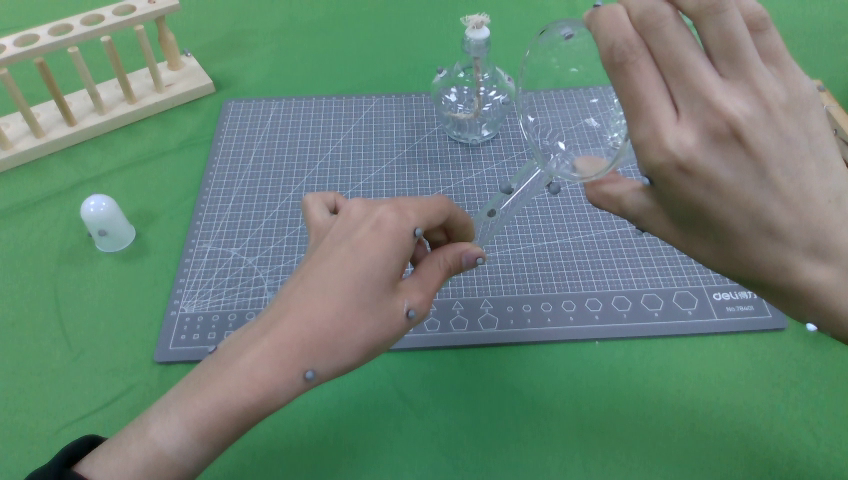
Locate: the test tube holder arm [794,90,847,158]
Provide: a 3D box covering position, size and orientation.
[{"bbox_3d":[0.335,-0.065,0.465,0.015,0.013,0.176,1,47,-7],"label":"test tube holder arm"}]

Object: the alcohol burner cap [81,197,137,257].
[{"bbox_3d":[-0.255,-0.013,0.485,0.034,0.048,0.033,0,49,0],"label":"alcohol burner cap"}]

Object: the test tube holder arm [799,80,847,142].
[{"bbox_3d":[0.333,-0.101,0.491,0.015,0.010,0.087,1,48,-7],"label":"test tube holder arm"}]

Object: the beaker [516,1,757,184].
[{"bbox_3d":[0.107,-0.075,0.303,0.100,0.084,0.073,-20,59,-26],"label":"beaker"}]

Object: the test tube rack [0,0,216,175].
[{"bbox_3d":[-0.333,-0.145,0.569,0.242,0.086,0.066,-28,54,-21],"label":"test tube rack"}]

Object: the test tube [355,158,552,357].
[{"bbox_3d":[0.012,0.014,0.333,0.150,0.017,0.017,-46,52,17],"label":"test tube"}]

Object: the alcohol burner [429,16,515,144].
[{"bbox_3d":[0.044,-0.144,0.538,0.078,0.120,0.077,0,51,0],"label":"alcohol burner"}]
